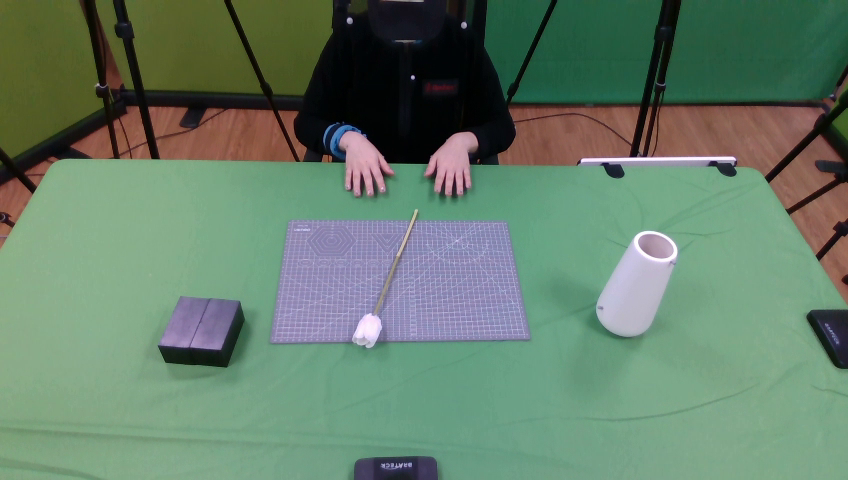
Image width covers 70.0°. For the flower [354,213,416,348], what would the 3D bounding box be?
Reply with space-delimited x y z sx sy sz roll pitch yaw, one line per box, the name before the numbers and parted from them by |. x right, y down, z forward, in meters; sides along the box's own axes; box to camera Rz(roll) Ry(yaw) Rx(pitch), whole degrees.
flower | -0.060 0.058 1.139 0.044 0.038 0.360 -20 31 30

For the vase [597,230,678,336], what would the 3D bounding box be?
vase | 0.360 0.077 1.026 0.098 0.201 0.097 1 47 -1
